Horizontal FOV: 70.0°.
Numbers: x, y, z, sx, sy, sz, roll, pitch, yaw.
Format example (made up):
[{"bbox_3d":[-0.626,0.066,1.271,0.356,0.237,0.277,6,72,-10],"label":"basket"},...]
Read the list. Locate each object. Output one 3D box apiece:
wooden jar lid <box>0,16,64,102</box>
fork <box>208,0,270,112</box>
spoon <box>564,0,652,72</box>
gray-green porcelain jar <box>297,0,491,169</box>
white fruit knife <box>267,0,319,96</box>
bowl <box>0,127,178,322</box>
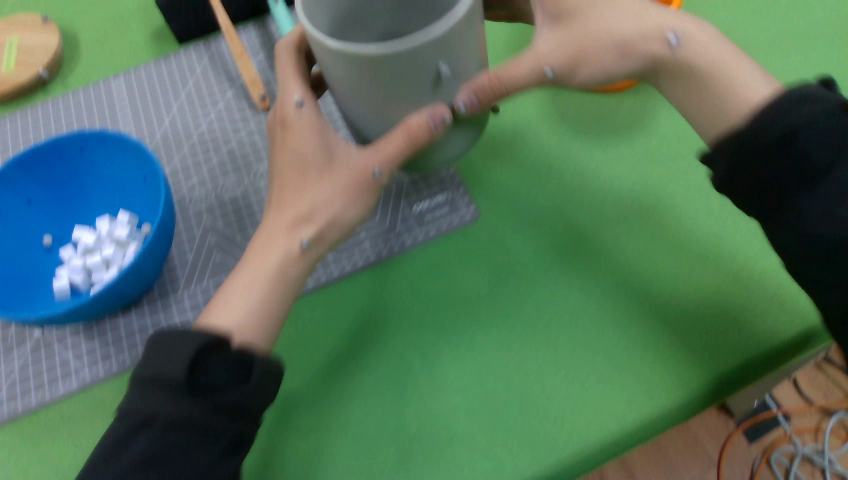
[{"bbox_3d":[-0.407,-0.177,0.597,0.108,0.021,0.107,-2,61,3],"label":"wooden jar lid"},{"bbox_3d":[-0.186,-0.207,0.553,0.028,0.019,0.206,-25,80,-12],"label":"fork"},{"bbox_3d":[0.190,-0.201,0.474,0.022,0.194,0.041,6,55,-43],"label":"spoon"},{"bbox_3d":[-0.011,-0.117,0.394,0.106,0.128,0.105,-5,60,9],"label":"gray-green porcelain jar"},{"bbox_3d":[-0.141,-0.224,0.559,0.016,0.027,0.206,-23,75,-8],"label":"white fruit knife"},{"bbox_3d":[-0.244,0.000,0.446,0.151,0.077,0.150,-2,61,5],"label":"bowl"}]
